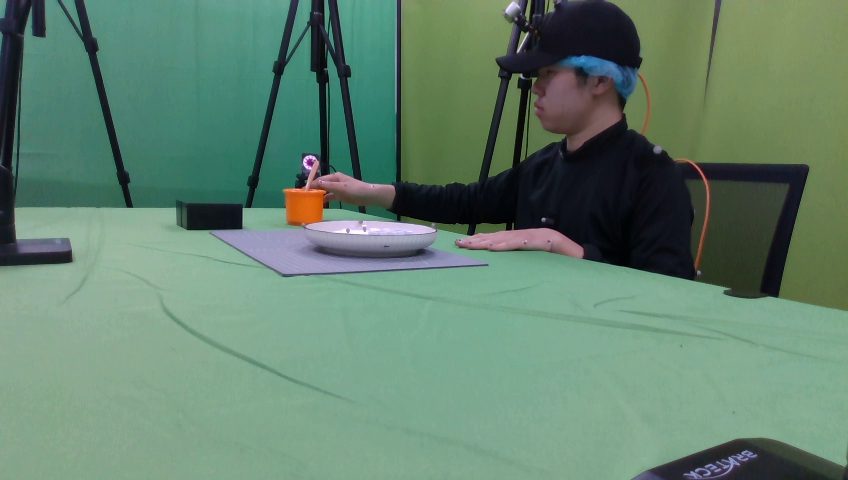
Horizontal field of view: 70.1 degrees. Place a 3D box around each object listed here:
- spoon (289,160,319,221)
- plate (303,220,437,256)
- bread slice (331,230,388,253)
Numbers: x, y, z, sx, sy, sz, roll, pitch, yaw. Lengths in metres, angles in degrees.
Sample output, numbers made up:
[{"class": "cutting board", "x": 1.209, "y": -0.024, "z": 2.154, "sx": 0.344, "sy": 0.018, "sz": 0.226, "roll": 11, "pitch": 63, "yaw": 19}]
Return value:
[{"class": "spoon", "x": -0.259, "y": -0.112, "z": 1.338, "sx": 0.041, "sy": 0.193, "sz": 0.022, "roll": 1, "pitch": -37, "yaw": 11}, {"class": "plate", "x": -0.084, "y": -0.003, "z": 0.951, "sx": 0.209, "sy": 0.038, "sz": 0.209, "roll": 3, "pitch": 7, "yaw": 0}, {"class": "bread slice", "x": -0.088, "y": 0.000, "z": 0.947, "sx": 0.105, "sy": 0.019, "sz": 0.131, "roll": -4, "pitch": 11, "yaw": -44}]
